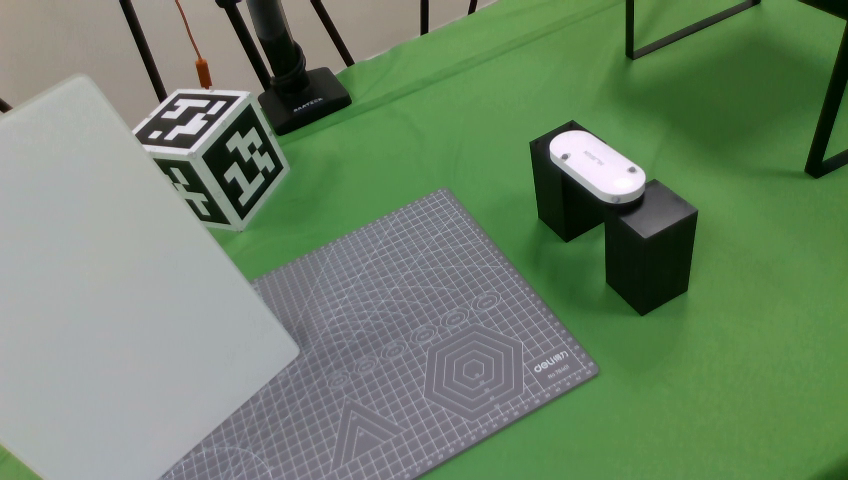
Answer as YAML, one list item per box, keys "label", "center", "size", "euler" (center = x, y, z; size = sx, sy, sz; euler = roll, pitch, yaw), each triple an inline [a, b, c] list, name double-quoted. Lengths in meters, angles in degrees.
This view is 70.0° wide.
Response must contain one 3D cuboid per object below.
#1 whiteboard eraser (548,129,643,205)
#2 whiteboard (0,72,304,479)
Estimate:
- label: "whiteboard eraser"
  center: [0.145, -0.066, 0.519]
  size: [0.041, 0.019, 0.100]
  euler: [-28, 46, -12]
- label: "whiteboard"
  center: [-0.294, 0.048, 0.527]
  size: [0.217, 0.308, 0.142]
  euler: [-42, 30, -21]
